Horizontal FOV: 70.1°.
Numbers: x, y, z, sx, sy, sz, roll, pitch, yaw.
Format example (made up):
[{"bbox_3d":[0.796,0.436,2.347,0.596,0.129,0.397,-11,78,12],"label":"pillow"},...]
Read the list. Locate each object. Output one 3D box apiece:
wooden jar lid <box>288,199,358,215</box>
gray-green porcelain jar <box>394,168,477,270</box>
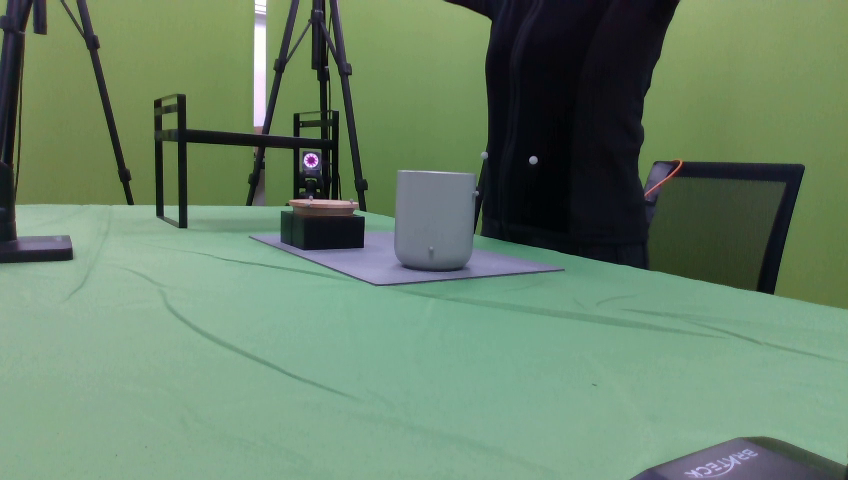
[{"bbox_3d":[-0.158,-0.052,0.950,0.108,0.020,0.108,3,8,0],"label":"wooden jar lid"},{"bbox_3d":[0.014,-0.029,0.793,0.106,0.126,0.106,2,7,0],"label":"gray-green porcelain jar"}]
